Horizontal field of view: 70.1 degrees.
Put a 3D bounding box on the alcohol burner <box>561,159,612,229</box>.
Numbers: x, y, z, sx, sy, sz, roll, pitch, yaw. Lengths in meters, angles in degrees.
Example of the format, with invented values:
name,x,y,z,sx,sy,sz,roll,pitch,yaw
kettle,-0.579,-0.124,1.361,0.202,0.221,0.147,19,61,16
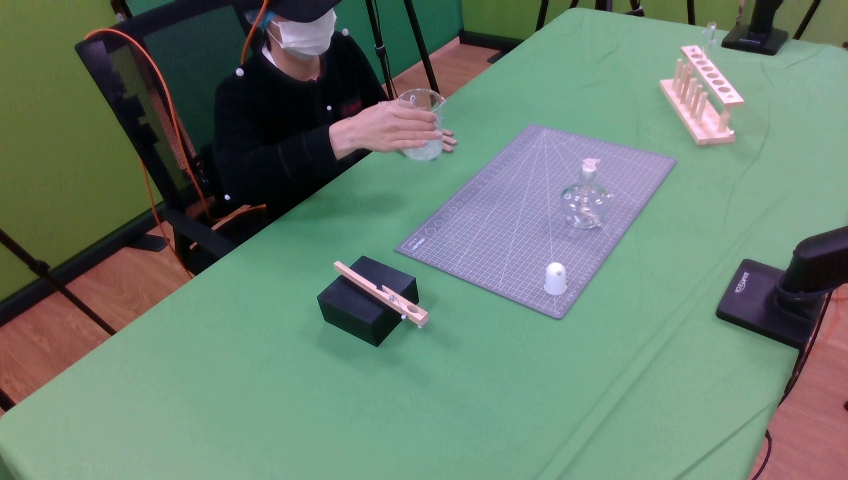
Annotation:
name,x,y,z,sx,sy,sz,roll,pitch,yaw
alcohol burner,0.257,-0.077,0.951,0.078,0.119,0.077,-3,40,3

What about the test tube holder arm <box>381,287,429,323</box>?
name,x,y,z,sx,sy,sz,roll,pitch,yaw
test tube holder arm,-0.028,0.087,0.807,0.087,0.015,0.010,25,42,33

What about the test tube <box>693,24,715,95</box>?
name,x,y,z,sx,sy,sz,roll,pitch,yaw
test tube,0.543,-0.348,1.177,0.017,0.151,0.017,-5,45,5

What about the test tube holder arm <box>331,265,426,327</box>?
name,x,y,z,sx,sy,sz,roll,pitch,yaw
test tube holder arm,-0.066,0.074,0.828,0.177,0.015,0.013,25,42,33

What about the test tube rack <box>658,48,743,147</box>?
name,x,y,z,sx,sy,sz,roll,pitch,yaw
test tube rack,0.532,-0.284,1.181,0.067,0.085,0.241,-5,40,4

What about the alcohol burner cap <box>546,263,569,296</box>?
name,x,y,z,sx,sy,sz,roll,pitch,yaw
alcohol burner cap,0.191,0.053,0.862,0.034,0.048,0.033,-5,40,5

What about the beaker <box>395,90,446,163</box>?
name,x,y,z,sx,sy,sz,roll,pitch,yaw
beaker,-0.002,-0.187,1.005,0.084,0.101,0.073,-12,46,-6
